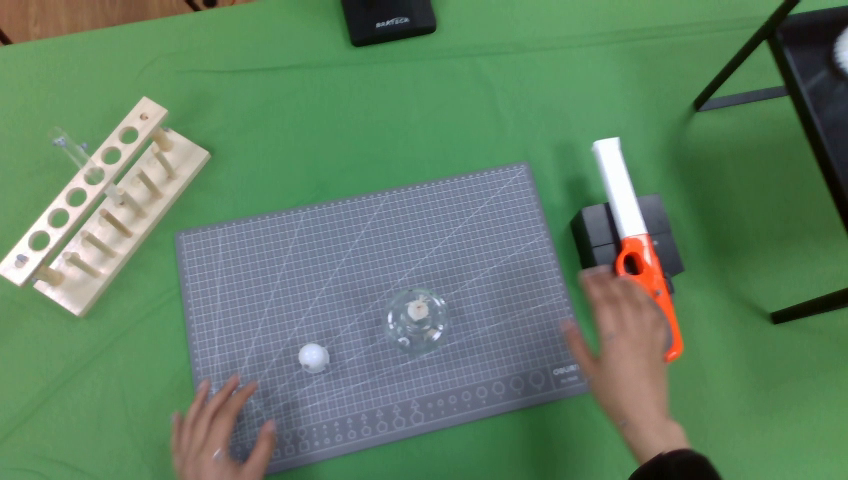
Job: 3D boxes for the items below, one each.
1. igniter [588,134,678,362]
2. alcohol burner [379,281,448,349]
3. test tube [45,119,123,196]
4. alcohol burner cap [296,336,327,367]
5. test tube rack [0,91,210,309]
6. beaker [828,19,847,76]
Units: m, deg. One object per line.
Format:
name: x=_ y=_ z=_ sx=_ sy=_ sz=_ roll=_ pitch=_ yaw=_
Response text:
igniter: x=0.242 y=0.003 z=0.706 sx=0.057 sy=0.025 sz=0.274 roll=-9 pitch=72 yaw=-4
alcohol burner: x=-0.011 y=0.079 z=0.668 sx=0.078 sy=0.119 sz=0.077 roll=2 pitch=71 yaw=-4
test tube: x=-0.363 y=-0.084 z=0.657 sx=0.017 sy=0.151 sz=0.017 roll=1 pitch=69 yaw=-2
alcohol burner cap: x=-0.128 y=0.125 z=0.684 sx=0.034 sy=0.048 sz=0.033 roll=1 pitch=74 yaw=-2
test tube rack: x=-0.359 y=-0.045 z=0.696 sx=0.066 sy=0.085 sz=0.241 roll=31 pitch=74 yaw=6
beaker: x=0.468 y=-0.216 z=0.609 sx=0.084 sy=0.101 sz=0.074 roll=32 pitch=74 yaw=7
